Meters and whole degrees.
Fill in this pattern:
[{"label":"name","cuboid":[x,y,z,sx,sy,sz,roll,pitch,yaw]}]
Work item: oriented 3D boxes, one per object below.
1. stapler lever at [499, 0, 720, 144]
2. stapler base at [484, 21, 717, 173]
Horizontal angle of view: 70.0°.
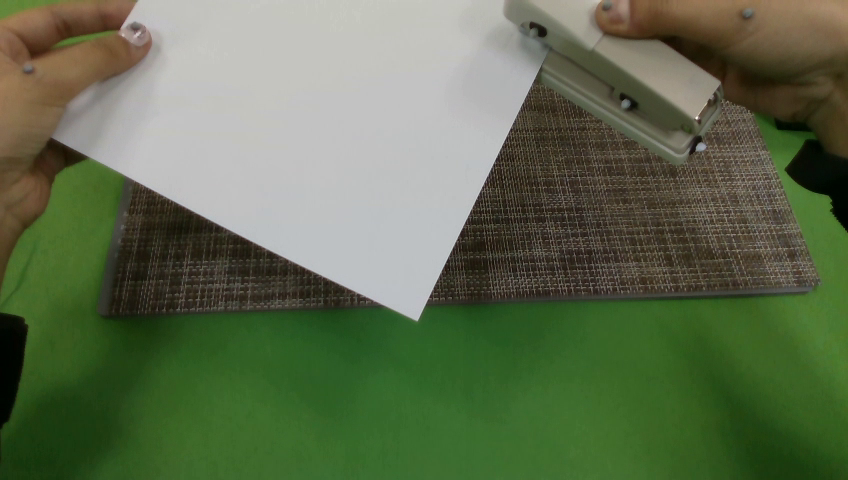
[{"label":"stapler lever","cuboid":[0.090,-0.092,0.303,0.117,0.040,0.027,35,86,18]},{"label":"stapler base","cuboid":[0.092,-0.088,0.322,0.130,0.024,0.041,35,86,12]}]
